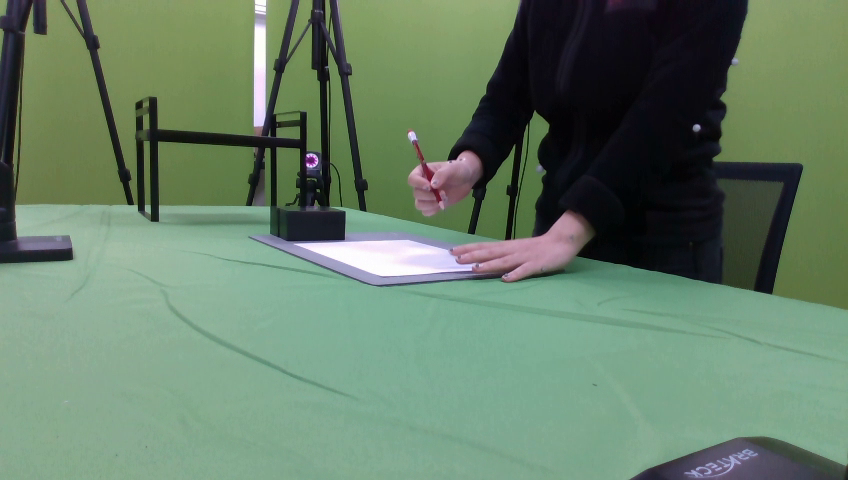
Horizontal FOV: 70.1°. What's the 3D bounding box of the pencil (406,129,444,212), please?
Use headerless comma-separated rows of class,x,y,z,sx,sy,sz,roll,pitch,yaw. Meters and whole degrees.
pencil,0.002,-0.108,0.910,0.012,0.012,0.193,0,45,-22
